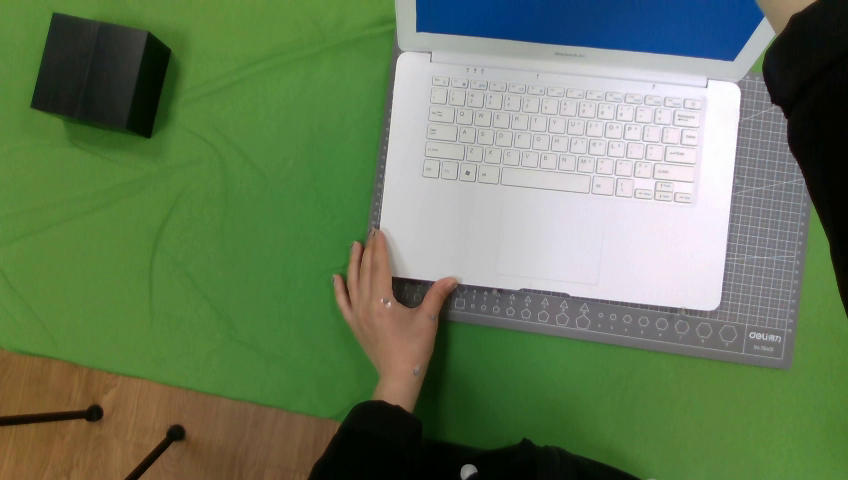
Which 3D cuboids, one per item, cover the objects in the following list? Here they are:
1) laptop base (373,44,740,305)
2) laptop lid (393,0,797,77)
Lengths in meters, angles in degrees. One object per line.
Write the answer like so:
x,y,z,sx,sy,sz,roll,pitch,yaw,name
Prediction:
0.133,-0.067,0.624,0.354,0.023,0.235,6,92,2,laptop base
0.146,-0.229,0.517,0.356,0.243,0.013,5,67,3,laptop lid
